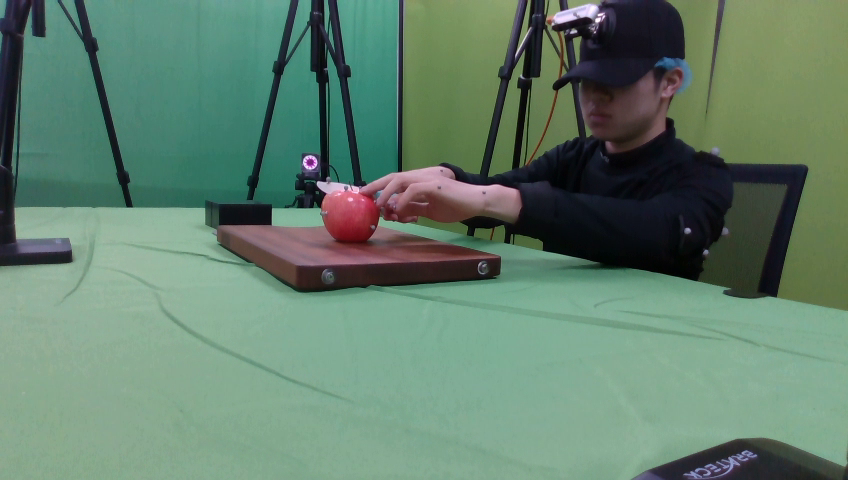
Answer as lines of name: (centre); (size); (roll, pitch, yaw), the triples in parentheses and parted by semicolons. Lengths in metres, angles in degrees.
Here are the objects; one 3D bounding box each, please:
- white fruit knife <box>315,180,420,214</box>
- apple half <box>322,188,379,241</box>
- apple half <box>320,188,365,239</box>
white fruit knife: (-0.076, -0.065, 0.888); (0.016, 0.027, 0.208); (13, 3, 42)
apple half: (-0.095, -0.034, 0.841); (0.053, 0.074, 0.081); (15, 10, 42)
apple half: (-0.123, -0.039, 0.866); (0.032, 0.081, 0.082); (11, 11, 42)
